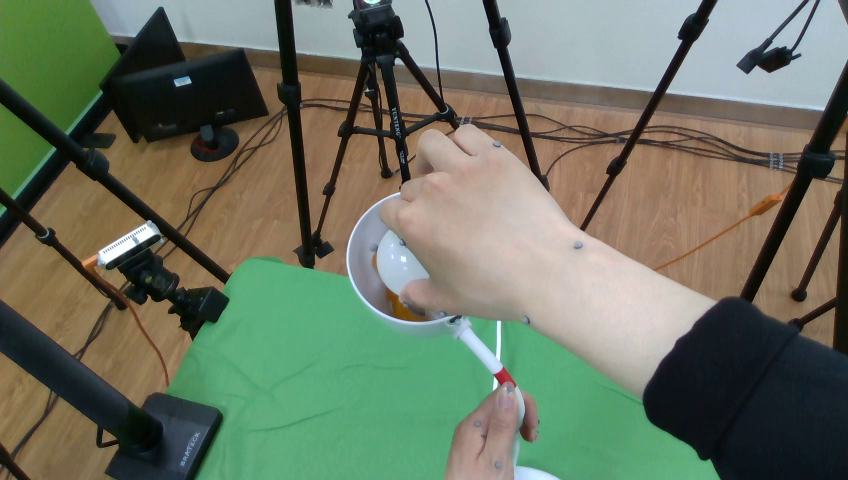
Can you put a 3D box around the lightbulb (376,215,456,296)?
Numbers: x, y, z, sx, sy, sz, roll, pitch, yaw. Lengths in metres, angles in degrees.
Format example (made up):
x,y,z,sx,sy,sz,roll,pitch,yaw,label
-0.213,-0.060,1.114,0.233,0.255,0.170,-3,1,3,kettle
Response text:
x,y,z,sx,sy,sz,roll,pitch,yaw,label
-0.005,0.019,0.470,0.059,0.108,0.059,-1,70,2,lightbulb

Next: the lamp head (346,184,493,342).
x,y,z,sx,sy,sz,roll,pitch,yaw,label
0.002,0.032,0.499,0.112,0.124,0.111,-3,62,5,lamp head

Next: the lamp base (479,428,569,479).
x,y,z,sx,sy,sz,roll,pitch,yaw,label
0.108,0.285,0.647,0.161,0.182,0.177,-23,52,-10,lamp base
